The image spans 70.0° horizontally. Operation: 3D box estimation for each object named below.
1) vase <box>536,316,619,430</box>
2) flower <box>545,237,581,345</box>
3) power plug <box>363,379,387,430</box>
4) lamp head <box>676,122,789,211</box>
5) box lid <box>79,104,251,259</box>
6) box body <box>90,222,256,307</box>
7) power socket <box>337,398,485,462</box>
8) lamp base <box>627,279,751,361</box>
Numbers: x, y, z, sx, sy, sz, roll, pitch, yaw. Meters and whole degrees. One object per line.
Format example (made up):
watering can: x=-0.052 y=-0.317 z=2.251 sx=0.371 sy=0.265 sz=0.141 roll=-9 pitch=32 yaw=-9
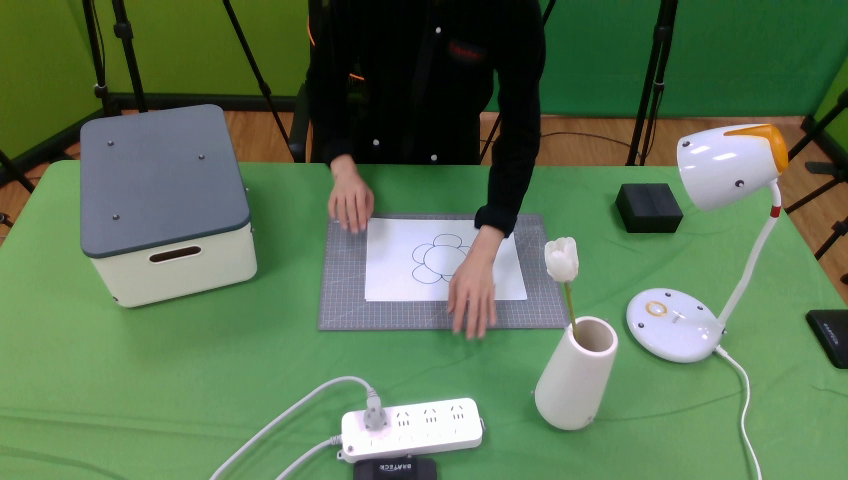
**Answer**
vase: x=0.229 y=0.200 z=0.901 sx=0.098 sy=0.201 sz=0.097 roll=3 pitch=46 yaw=-3
flower: x=0.213 y=0.137 z=0.846 sx=0.038 sy=0.364 sz=0.044 roll=21 pitch=55 yaw=40
power plug: x=-0.071 y=0.252 z=0.911 sx=0.035 sy=0.053 sz=0.072 roll=3 pitch=40 yaw=0
lamp head: x=0.423 y=-0.104 z=0.819 sx=0.122 sy=0.113 sz=0.112 roll=-13 pitch=33 yaw=40
box lid: x=-0.467 y=-0.120 z=1.076 sx=0.264 sy=0.015 sz=0.369 roll=-13 pitch=49 yaw=-17
box body: x=-0.471 y=-0.070 z=1.131 sx=0.254 sy=0.161 sz=0.361 roll=-14 pitch=49 yaw=-17
power socket: x=-0.018 y=0.285 z=0.914 sx=0.227 sy=0.033 sz=0.071 roll=-4 pitch=46 yaw=-8
lamp base: x=0.460 y=0.100 z=1.027 sx=0.178 sy=0.181 sz=0.160 roll=27 pitch=51 yaw=17
